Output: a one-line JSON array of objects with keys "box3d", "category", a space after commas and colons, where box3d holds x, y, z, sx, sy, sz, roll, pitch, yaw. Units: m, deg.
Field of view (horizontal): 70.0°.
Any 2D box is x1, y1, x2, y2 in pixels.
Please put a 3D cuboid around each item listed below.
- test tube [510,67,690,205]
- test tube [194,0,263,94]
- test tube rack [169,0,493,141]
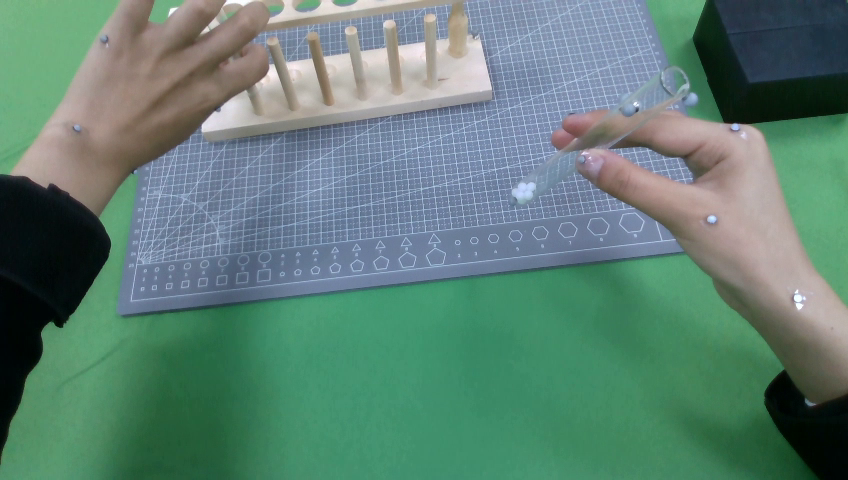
[{"box3d": [0.086, -0.049, 0.333, 0.017, 0.150, 0.017, 6, 72, -19], "category": "test tube"}, {"box3d": [-0.145, -0.157, 0.419, 0.017, 0.152, 0.017, -3, 61, 7], "category": "test tube"}, {"box3d": [-0.069, -0.149, 0.489, 0.242, 0.086, 0.066, -9, 61, 0], "category": "test tube rack"}]
